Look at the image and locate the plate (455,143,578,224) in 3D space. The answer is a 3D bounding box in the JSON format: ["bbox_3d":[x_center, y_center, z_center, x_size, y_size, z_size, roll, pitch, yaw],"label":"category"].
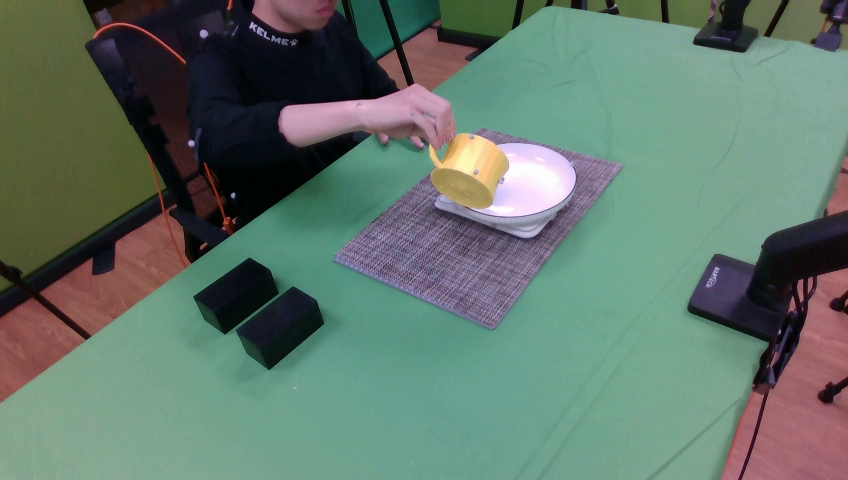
[{"bbox_3d":[0.145,-0.089,0.989,0.209,0.038,0.208,-4,41,4],"label":"plate"}]

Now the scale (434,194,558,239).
[{"bbox_3d":[0.132,-0.075,1.025,0.199,0.032,0.149,22,48,30],"label":"scale"}]

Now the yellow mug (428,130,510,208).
[{"bbox_3d":[0.057,-0.109,0.876,0.099,0.132,0.064,-6,52,54],"label":"yellow mug"}]
